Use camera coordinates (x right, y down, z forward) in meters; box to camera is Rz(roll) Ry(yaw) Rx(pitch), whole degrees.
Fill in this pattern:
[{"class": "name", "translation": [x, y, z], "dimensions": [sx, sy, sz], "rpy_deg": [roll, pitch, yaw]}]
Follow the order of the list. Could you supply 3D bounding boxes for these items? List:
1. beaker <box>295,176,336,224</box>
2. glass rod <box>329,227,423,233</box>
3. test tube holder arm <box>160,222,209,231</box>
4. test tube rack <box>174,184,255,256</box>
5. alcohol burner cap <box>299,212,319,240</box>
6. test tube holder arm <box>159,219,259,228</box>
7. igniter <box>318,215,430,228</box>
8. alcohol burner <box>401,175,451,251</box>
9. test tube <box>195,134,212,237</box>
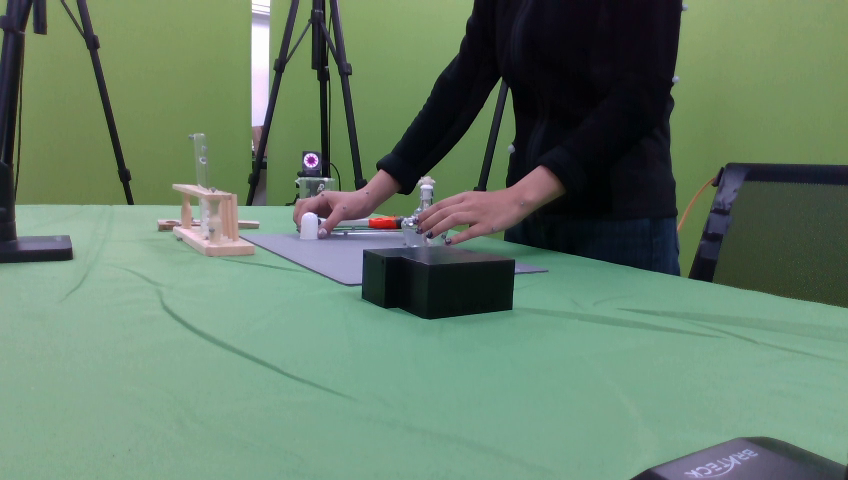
[{"class": "beaker", "translation": [-0.224, -0.080, 1.247], "dimensions": [0.084, 0.100, 0.073], "rpy_deg": [-1, 8, -18]}, {"class": "glass rod", "translation": [-0.087, -0.019, 1.149], "dimensions": [0.201, 0.008, 0.008], "rpy_deg": [-3, 8, -33]}, {"class": "test tube holder arm", "translation": [-0.423, -0.024, 1.075], "dimensions": [0.088, 0.015, 0.010], "rpy_deg": [-3, 44, -38]}, {"class": "test tube rack", "translation": [-0.327, -0.036, 0.928], "dimensions": [0.067, 0.085, 0.241], "rpy_deg": [-2, 9, -32]}, {"class": "alcohol burner cap", "translation": [-0.194, -0.024, 1.024], "dimensions": [0.034, 0.048, 0.034], "rpy_deg": [1, 5, 0]}, {"class": "test tube holder arm", "translation": [-0.390, -0.030, 1.107], "dimensions": [0.179, 0.015, 0.013], "rpy_deg": [-3, 44, -39]}, {"class": "igniter", "translation": [-0.108, -0.037, 1.227], "dimensions": [0.278, 0.025, 0.057], "rpy_deg": [-3, -1, -36]}, {"class": "alcohol burner", "translation": [0.003, -0.042, 0.947], "dimensions": [0.078, 0.119, 0.078], "rpy_deg": [1, 9, 0]}, {"class": "test tube", "translation": [-0.320, -0.079, 0.880], "dimensions": [0.017, 0.150, 0.017], "rpy_deg": [-3, 3, 1]}]
